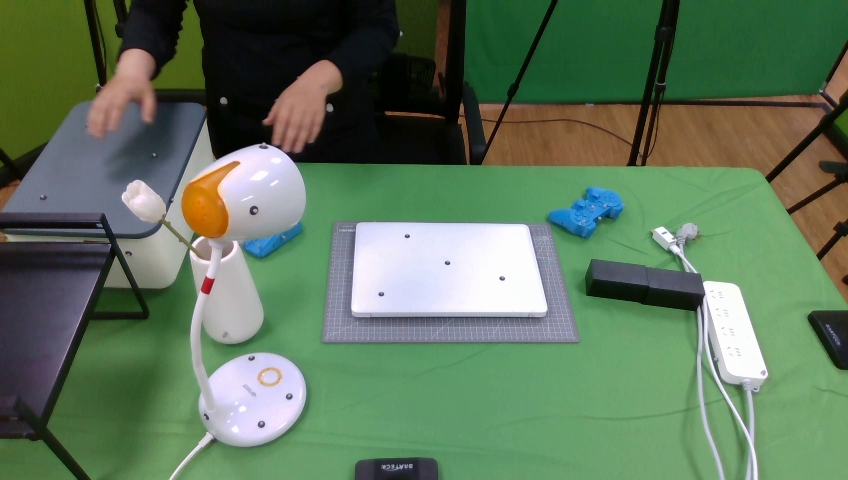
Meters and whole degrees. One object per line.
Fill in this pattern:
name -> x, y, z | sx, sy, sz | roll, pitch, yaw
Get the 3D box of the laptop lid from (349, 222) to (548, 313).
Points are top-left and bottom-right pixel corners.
laptop lid -> 0.042, 0.046, 1.142 | 0.357, 0.013, 0.240 | 2, 44, -3

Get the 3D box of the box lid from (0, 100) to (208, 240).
box lid -> -0.559, -0.138, 1.085 | 0.263, 0.015, 0.369 | 2, 46, -2

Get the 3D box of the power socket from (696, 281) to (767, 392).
power socket -> 0.543, 0.161, 1.077 | 0.072, 0.033, 0.225 | 5, 46, 2

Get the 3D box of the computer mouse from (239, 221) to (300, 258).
computer mouse -> -0.300, -0.016, 1.178 | 0.062, 0.041, 0.117 | 35, 57, 22

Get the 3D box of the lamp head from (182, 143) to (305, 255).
lamp head -> -0.216, -0.044, 0.697 | 0.112, 0.113, 0.123 | 23, 31, 17

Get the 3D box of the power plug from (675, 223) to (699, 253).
power plug -> 0.538, 0.000, 1.243 | 0.053, 0.035, 0.072 | 18, 82, -17

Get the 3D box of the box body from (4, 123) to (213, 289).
box body -> -0.563, -0.087, 1.139 | 0.254, 0.161, 0.361 | 2, 46, -3

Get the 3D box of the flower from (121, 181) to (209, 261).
flower -> -0.329, 0.029, 0.905 | 0.038, 0.364, 0.044 | -22, 58, -1

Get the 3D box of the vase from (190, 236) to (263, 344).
vase -> -0.317, 0.081, 0.971 | 0.098, 0.201, 0.097 | 3, 47, -3

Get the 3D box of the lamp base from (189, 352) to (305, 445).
lamp base -> -0.268, 0.196, 0.876 | 0.160, 0.181, 0.179 | 25, 52, 20

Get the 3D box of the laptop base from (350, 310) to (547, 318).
laptop base -> 0.041, 0.056, 1.149 | 0.355, 0.023, 0.234 | 0, 43, -4

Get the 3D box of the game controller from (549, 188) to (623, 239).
game controller -> 0.345, -0.065, 1.272 | 0.155, 0.052, 0.096 | -31, 58, -29

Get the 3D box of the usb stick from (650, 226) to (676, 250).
usb stick -> 0.485, -0.008, 1.237 | 0.021, 0.027, 0.059 | -22, 44, -13
